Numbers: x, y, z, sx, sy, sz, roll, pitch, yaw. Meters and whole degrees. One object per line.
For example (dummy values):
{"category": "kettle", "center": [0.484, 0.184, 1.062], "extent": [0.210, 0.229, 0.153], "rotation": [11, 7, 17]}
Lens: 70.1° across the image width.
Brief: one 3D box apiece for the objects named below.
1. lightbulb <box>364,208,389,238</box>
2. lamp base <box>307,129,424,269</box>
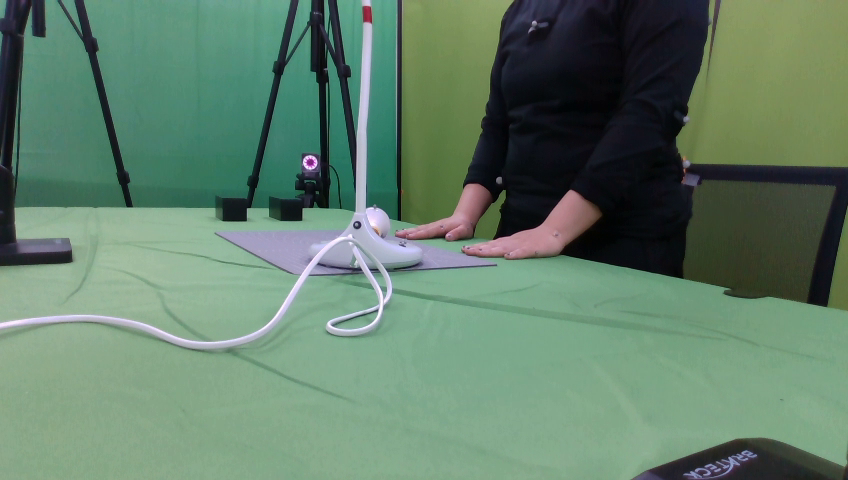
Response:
{"category": "lightbulb", "center": [-0.089, -0.017, 1.019], "extent": [0.059, 0.059, 0.107], "rotation": [3, 23, -2]}
{"category": "lamp base", "center": [-0.077, -0.057, 0.811], "extent": [0.161, 0.180, 0.179], "rotation": [2, 10, -4]}
